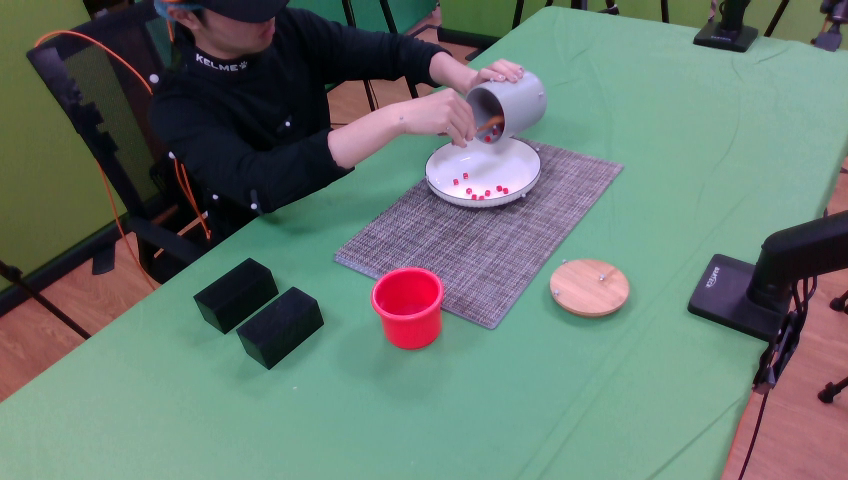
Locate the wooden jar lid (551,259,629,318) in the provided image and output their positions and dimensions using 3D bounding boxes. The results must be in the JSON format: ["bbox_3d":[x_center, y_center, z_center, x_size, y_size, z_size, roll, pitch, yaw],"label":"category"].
[{"bbox_3d":[0.234,0.070,0.857,0.108,0.021,0.108,-5,40,4],"label":"wooden jar lid"}]

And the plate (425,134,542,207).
[{"bbox_3d":[0.105,-0.122,1.079,0.207,0.039,0.206,-4,41,4],"label":"plate"}]

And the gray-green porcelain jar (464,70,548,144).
[{"bbox_3d":[0.151,-0.243,1.090,0.127,0.106,0.105,-30,45,-32],"label":"gray-green porcelain jar"}]

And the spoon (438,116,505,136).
[{"bbox_3d":[0.095,-0.194,1.046,0.041,0.022,0.195,13,26,43],"label":"spoon"}]
